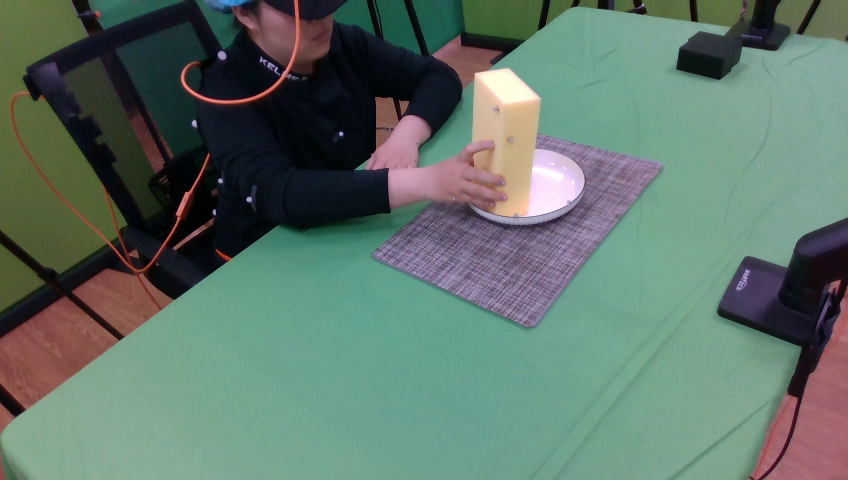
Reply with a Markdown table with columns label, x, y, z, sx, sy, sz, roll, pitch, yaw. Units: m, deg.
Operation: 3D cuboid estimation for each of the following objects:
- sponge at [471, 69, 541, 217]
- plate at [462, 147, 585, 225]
| label | x | y | z | sx | sy | sz | roll | pitch | yaw |
| --- | --- | --- | --- | --- | --- | --- | --- | --- | --- |
| sponge | 0.128 | -0.153 | 0.976 | 0.061 | 0.207 | 0.117 | -11 | 38 | -14 |
| plate | 0.170 | -0.089 | 1.041 | 0.207 | 0.039 | 0.206 | -5 | 40 | 5 |
